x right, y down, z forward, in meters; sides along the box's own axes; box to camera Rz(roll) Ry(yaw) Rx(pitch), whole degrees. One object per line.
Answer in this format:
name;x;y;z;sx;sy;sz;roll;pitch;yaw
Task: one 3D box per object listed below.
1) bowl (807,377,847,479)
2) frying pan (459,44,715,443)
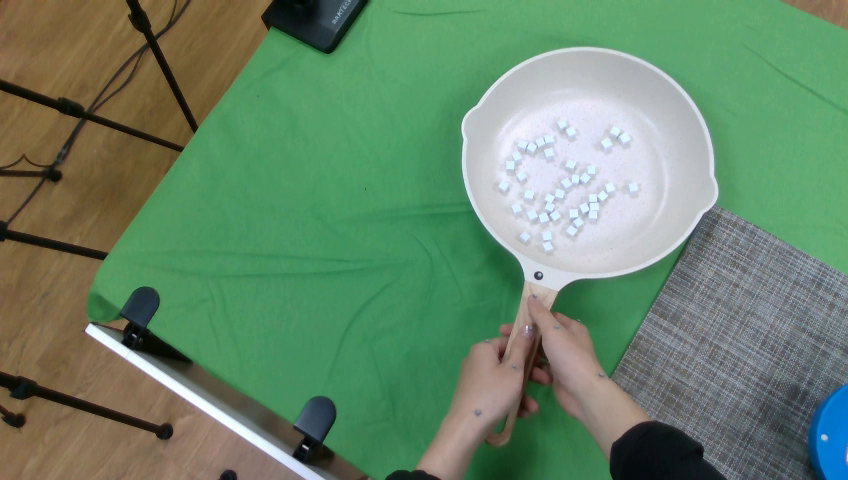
bowl;0.469;0.213;0.634;0.151;0.077;0.150;-1;76;4
frying pan;0.152;-0.004;0.706;0.306;0.103;0.485;19;70;10
